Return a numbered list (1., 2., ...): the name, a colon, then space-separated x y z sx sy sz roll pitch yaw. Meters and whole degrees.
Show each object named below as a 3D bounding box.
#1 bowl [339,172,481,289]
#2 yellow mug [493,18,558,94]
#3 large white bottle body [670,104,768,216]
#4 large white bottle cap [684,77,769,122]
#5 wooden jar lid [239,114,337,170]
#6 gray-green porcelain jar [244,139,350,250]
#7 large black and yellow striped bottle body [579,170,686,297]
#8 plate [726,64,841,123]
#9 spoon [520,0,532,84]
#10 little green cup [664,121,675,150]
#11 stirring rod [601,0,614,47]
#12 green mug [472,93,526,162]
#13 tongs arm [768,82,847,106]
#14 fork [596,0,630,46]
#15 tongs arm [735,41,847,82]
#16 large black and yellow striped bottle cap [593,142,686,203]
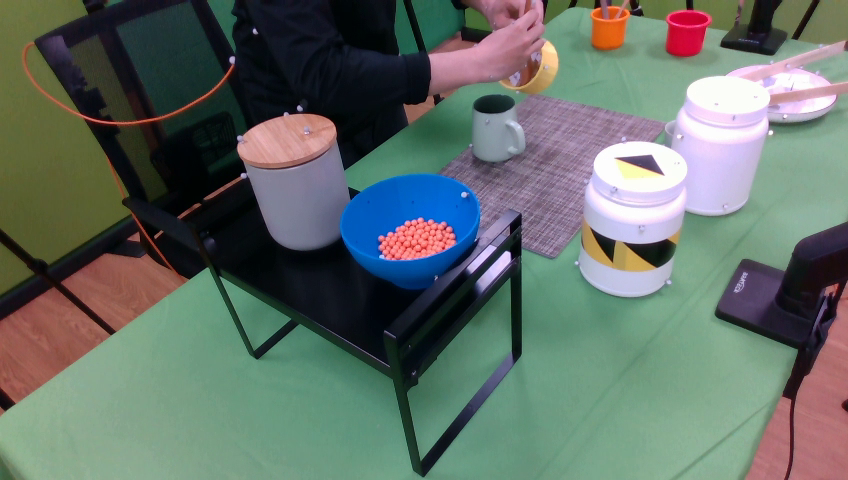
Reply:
1. bowl: -0.011 0.001 0.660 0.151 0.077 0.150 -5 41 5
2. yellow mug: 0.182 -0.335 1.095 0.099 0.130 0.064 -3 2 36
3. large white bottle body: 0.458 -0.146 0.952 0.130 0.185 0.130 -4 40 4
4. large white bottle cap: 0.448 -0.209 0.898 0.115 0.018 0.114 -4 40 4
5. wooden jar lid: -0.149 -0.106 0.673 0.108 0.021 0.108 -6 39 5
6. gray-green porcelain jar: -0.143 -0.060 0.714 0.106 0.127 0.105 -4 41 4
7. large black and yellow striped bottle body: 0.287 -0.027 0.841 0.131 0.185 0.130 -4 40 4
8. plate: 0.695 -0.282 1.189 0.207 0.039 0.206 -4 40 4
9. spoon: 0.175 -0.347 1.035 0.021 0.195 0.041 -5 56 5
10. little green cup: 0.472 -0.188 1.113 0.061 0.039 0.061 -5 40 4
11. stirring rod: 0.439 -0.552 1.463 0.014 0.006 0.175 -7 83 3
12. green mug: 0.144 -0.202 1.122 0.093 0.105 0.124 -29 45 -23
13. tongs arm: 0.738 -0.282 1.134 0.388 0.028 0.028 -9 46 -5
14. fork: 0.481 -0.556 1.453 0.028 0.019 0.207 40 103 38
15. tongs arm: 0.712 -0.332 1.194 0.386 0.026 0.050 -19 45 -16
16. large black and yellow striped bottle cap: 0.280 -0.090 0.786 0.115 0.019 0.114 -5 41 5
